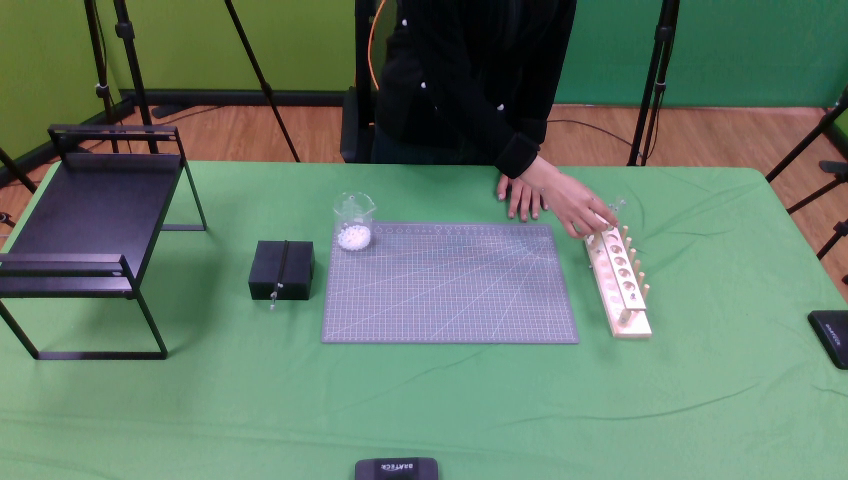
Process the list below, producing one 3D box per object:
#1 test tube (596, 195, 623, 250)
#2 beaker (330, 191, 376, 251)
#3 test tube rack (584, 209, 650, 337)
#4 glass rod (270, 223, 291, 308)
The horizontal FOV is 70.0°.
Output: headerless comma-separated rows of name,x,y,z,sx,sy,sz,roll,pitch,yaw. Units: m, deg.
test tube,0.348,-0.030,1.141,0.017,0.151,0.017,0,51,0
beaker,-0.135,-0.034,1.163,0.084,0.101,0.073,3,46,-3
test tube rack,0.365,0.056,1.129,0.067,0.085,0.240,1,46,-4
glass rod,-0.255,0.041,1.081,0.008,0.008,0.198,2,46,-2
